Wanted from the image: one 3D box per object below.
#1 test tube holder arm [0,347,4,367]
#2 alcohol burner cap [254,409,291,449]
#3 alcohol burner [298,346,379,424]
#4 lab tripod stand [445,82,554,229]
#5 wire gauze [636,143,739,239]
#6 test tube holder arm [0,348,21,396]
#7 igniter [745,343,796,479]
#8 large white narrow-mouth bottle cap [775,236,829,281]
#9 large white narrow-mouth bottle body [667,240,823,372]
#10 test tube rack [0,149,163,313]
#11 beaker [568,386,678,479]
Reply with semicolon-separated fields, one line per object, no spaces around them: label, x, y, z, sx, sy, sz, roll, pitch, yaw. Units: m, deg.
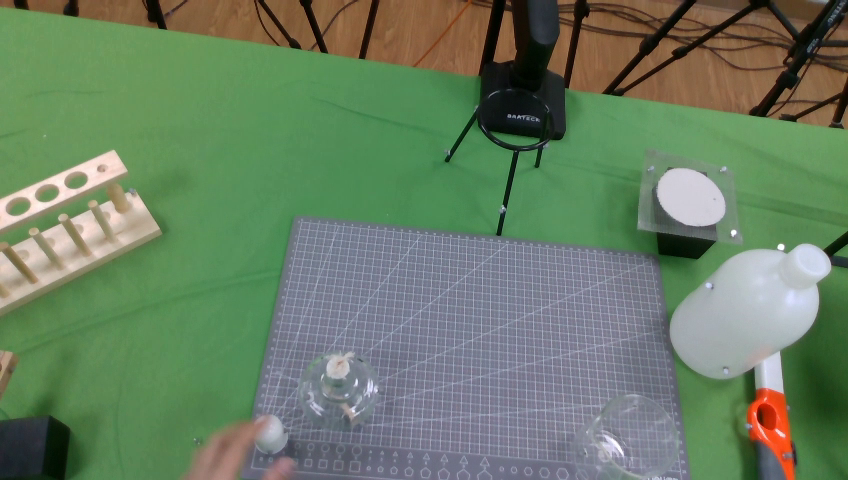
test tube holder arm;-0.396;0.177;0.515;0.013;0.015;0.177;8;59;-2
alcohol burner cap;-0.148;0.180;0.583;0.034;0.048;0.033;2;59;-3
alcohol burner;-0.081;0.132;0.577;0.078;0.120;0.077;4;59;-7
lab tripod stand;0.097;-0.108;0.727;0.149;0.132;0.147;4;61;-6
wire gauze;0.322;-0.060;0.743;0.121;0.011;0.124;13;59;1
test tube holder arm;-0.385;0.139;0.539;0.010;0.015;0.087;9;59;-2
igniter;0.376;0.169;0.665;0.057;0.025;0.274;20;59;-10
large white narrow-mouth bottle cap;0.343;0.017;0.552;0.038;0.024;0.037;3;60;-4
large white narrow-mouth bottle body;0.336;0.061;0.625;0.102;0.196;0.101;3;60;-4
test tube rack;-0.412;0.004;0.629;0.242;0.086;0.066;-31;69;-22
beaker;0.183;0.192;0.584;0.084;0.101;0.073;3;60;-4
